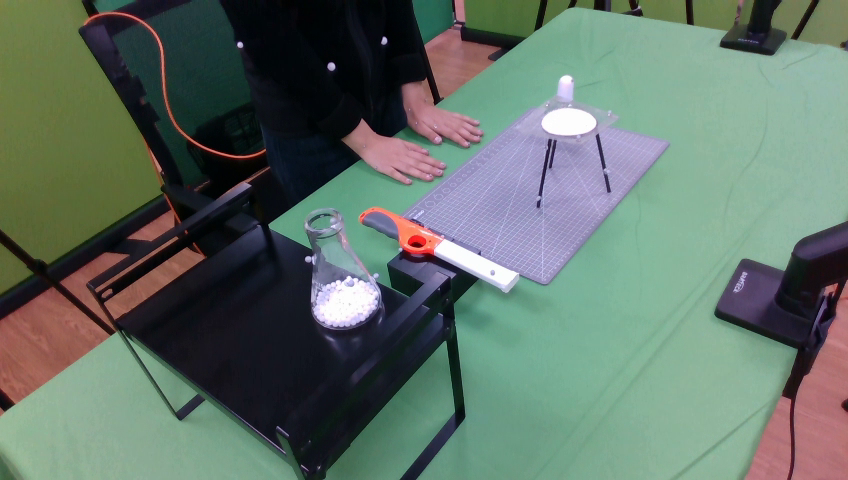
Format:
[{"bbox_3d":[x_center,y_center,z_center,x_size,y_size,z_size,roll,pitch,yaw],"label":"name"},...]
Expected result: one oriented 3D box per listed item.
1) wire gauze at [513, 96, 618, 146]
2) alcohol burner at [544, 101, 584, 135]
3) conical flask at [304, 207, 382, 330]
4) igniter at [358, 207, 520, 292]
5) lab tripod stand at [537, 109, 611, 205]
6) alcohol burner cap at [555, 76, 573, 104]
[{"bbox_3d":[0.229,-0.190,0.969,0.120,0.011,0.125,26,50,33],"label":"wire gauze"},{"bbox_3d":[0.269,-0.256,1.161,0.078,0.119,0.077,-5,38,5],"label":"alcohol burner"},{"bbox_3d":[-0.088,0.025,0.601,0.075,0.122,0.075,-5,40,5],"label":"conical flask"},{"bbox_3d":[0.014,0.008,0.886,0.274,0.025,0.057,25,52,29],"label":"igniter"},{"bbox_3d":[0.244,-0.141,1.014,0.148,0.132,0.147,-3,39,3],"label":"lab tripod stand"},{"bbox_3d":[0.266,-0.284,1.139,0.034,0.048,0.033,0,35,1],"label":"alcohol burner cap"}]
